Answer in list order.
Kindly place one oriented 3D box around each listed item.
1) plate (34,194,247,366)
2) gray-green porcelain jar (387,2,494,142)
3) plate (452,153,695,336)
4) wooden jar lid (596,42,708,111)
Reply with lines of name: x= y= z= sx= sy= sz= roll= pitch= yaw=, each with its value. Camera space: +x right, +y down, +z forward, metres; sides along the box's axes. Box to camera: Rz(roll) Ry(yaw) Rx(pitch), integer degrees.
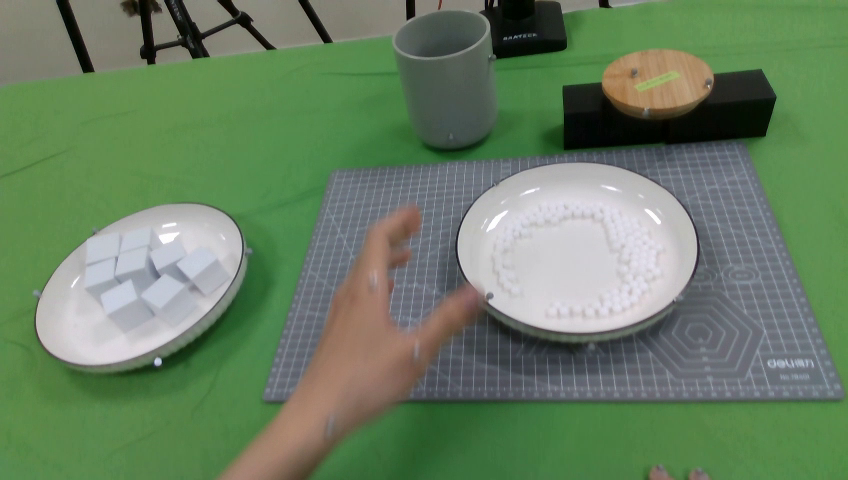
plate: x=-0.275 y=0.039 z=0.606 sx=0.207 sy=0.039 sz=0.205 roll=-6 pitch=47 yaw=7
gray-green porcelain jar: x=0.023 y=-0.184 z=0.682 sx=0.106 sy=0.128 sz=0.105 roll=-7 pitch=47 yaw=7
plate: x=0.130 y=0.002 z=0.545 sx=0.209 sy=0.038 sz=0.207 roll=-6 pitch=47 yaw=7
wooden jar lid: x=0.234 y=-0.168 z=0.625 sx=0.108 sy=0.021 sz=0.107 roll=-6 pitch=48 yaw=7
